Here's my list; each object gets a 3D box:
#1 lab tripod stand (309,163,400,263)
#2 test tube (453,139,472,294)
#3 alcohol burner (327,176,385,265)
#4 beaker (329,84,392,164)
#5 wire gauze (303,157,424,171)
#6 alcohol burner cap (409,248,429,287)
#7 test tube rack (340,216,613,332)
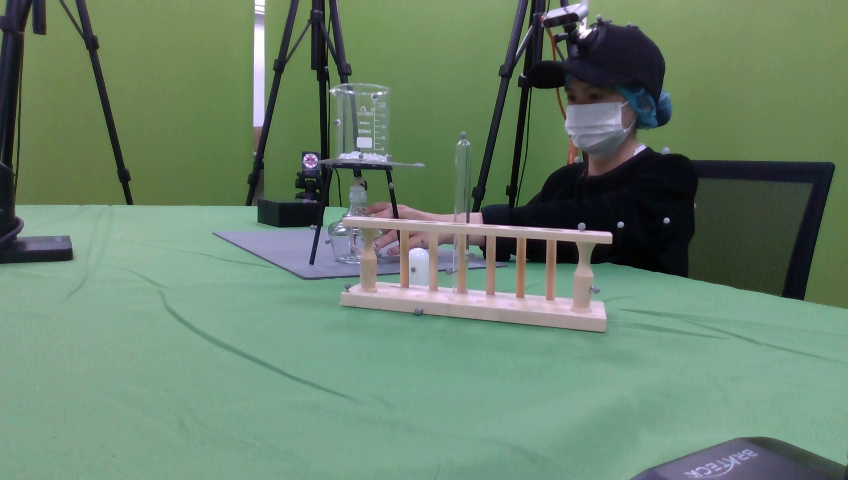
[{"bbox_3d":[-0.091,-0.037,0.813,0.148,0.131,0.148,1,6,0],"label":"lab tripod stand"},{"bbox_3d":[0.037,-0.021,0.584,0.017,0.150,0.017,1,7,0],"label":"test tube"},{"bbox_3d":[-0.090,-0.027,0.811,0.078,0.119,0.078,3,5,0],"label":"alcohol burner"},{"bbox_3d":[-0.084,-0.149,0.794,0.084,0.100,0.073,-1,6,-23],"label":"beaker"},{"bbox_3d":[-0.082,-0.101,0.799,0.126,0.011,0.121,1,7,-30],"label":"wire gauze"},{"bbox_3d":[-0.008,0.032,0.674,0.034,0.048,0.034,3,6,0],"label":"alcohol burner cap"},{"bbox_3d":[0.048,0.026,0.568,0.242,0.085,0.067,4,7,13],"label":"test tube rack"}]
